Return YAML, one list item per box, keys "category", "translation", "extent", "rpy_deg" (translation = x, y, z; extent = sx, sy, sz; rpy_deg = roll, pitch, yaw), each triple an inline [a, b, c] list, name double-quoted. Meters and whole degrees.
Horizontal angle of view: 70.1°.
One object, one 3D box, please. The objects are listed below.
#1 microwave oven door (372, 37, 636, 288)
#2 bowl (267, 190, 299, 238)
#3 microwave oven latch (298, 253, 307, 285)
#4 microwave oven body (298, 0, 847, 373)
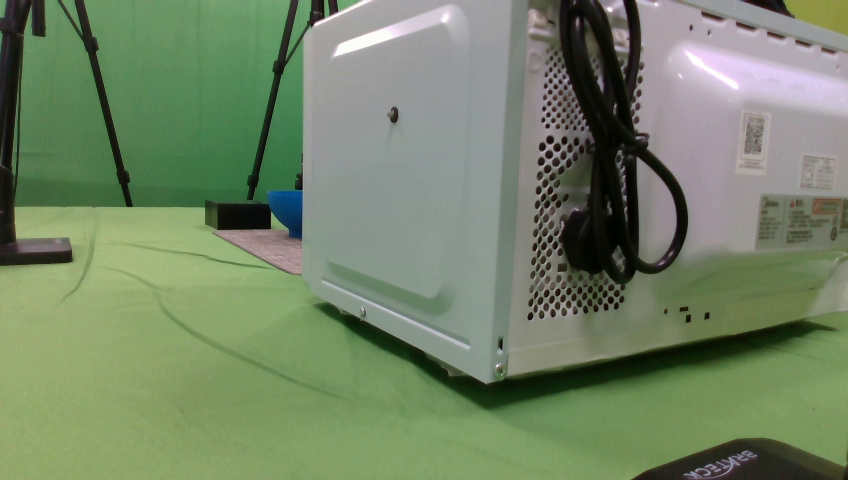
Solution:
- category: "microwave oven door"
  translation: [0.110, -0.080, 0.686]
  extent: [0.358, 0.243, 0.039]
  rpy_deg: [-2, 9, -33]
- category: "bowl"
  translation: [-0.202, -0.046, 1.069]
  extent: [0.151, 0.077, 0.151]
  rpy_deg: [3, 7, 0]
- category: "microwave oven latch"
  translation: [-0.081, 0.027, 0.582]
  extent: [0.079, 0.029, 0.030]
  rpy_deg: [-1, 7, -32]
- category: "microwave oven body"
  translation: [0.151, -0.055, 0.542]
  extent: [0.444, 0.260, 0.324]
  rpy_deg: [-2, 7, -33]
